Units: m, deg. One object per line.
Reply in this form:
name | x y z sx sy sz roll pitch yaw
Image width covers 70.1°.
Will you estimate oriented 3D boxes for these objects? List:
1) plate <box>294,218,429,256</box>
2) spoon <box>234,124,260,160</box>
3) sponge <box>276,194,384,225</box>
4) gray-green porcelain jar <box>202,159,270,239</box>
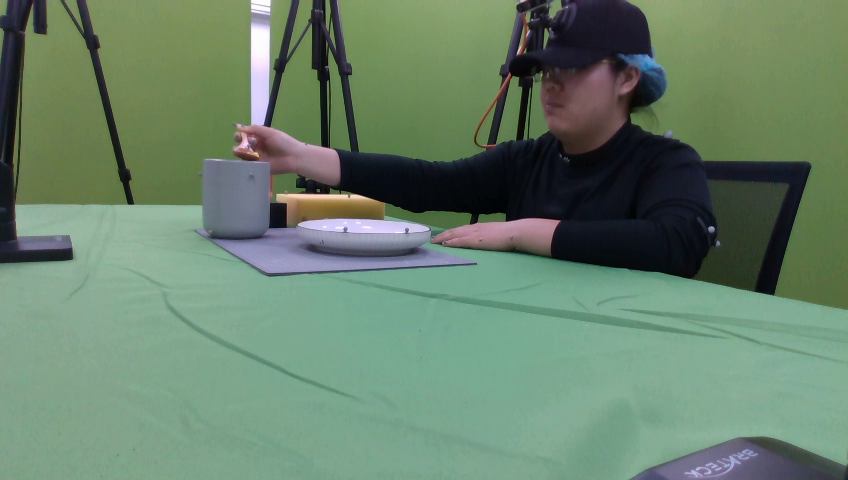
plate | -0.096 -0.005 0.936 0.208 0.039 0.207 3 7 0
spoon | -0.307 -0.172 1.038 0.042 0.021 0.193 12 24 -25
sponge | -0.203 -0.066 1.311 0.208 0.061 0.117 -2 9 -35
gray-green porcelain jar | -0.310 -0.068 0.999 0.106 0.126 0.106 3 8 0
